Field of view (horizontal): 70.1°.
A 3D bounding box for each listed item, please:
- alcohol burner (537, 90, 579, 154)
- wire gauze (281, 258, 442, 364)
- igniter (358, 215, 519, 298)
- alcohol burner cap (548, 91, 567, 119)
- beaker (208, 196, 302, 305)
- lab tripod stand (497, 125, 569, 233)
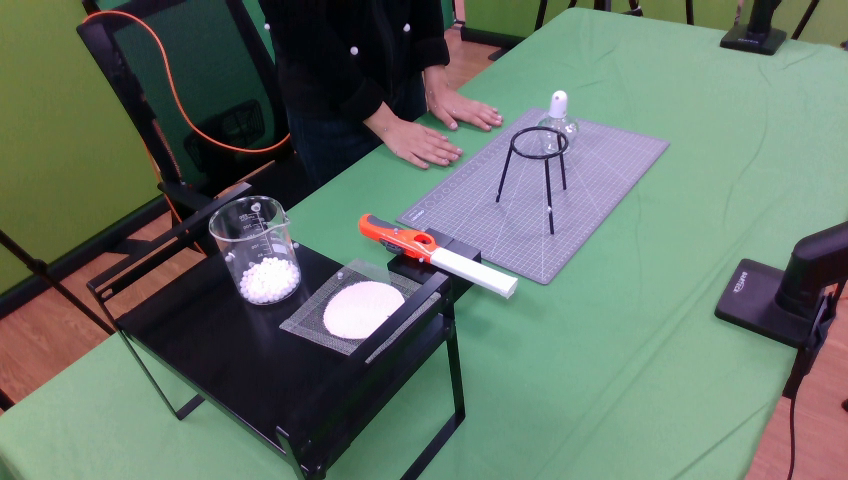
[{"bbox_3d":[0.248,-0.220,1.121,0.078,0.119,0.077,-5,39,5],"label":"alcohol burner"},{"bbox_3d":[-0.065,0.071,0.633,0.120,0.011,0.125,19,45,31],"label":"wire gauze"},{"bbox_3d":[0.009,0.018,0.876,0.274,0.025,0.057,23,46,28],"label":"igniter"},{"bbox_3d":[0.245,-0.247,1.098,0.034,0.048,0.033,-1,45,2],"label":"alcohol burner cap"},{"bbox_3d":[-0.173,0.014,0.647,0.084,0.101,0.073,-1,41,8],"label":"beaker"},{"bbox_3d":[0.189,-0.104,0.979,0.148,0.132,0.147,-3,41,3],"label":"lab tripod stand"}]
